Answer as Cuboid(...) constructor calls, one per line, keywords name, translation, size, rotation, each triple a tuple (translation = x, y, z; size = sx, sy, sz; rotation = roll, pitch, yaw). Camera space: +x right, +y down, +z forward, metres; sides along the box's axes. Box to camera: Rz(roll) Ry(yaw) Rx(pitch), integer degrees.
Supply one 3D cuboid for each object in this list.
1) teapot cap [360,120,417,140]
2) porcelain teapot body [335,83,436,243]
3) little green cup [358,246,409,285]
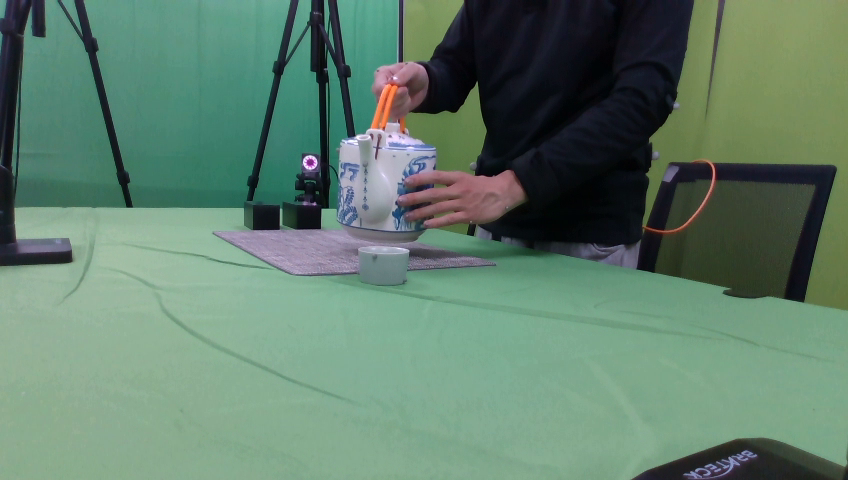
Cuboid(name="teapot cap", translation=(-0.053, -0.155, 0.892), size=(0.085, 0.044, 0.085), rotation=(2, 13, 0))
Cuboid(name="porcelain teapot body", translation=(-0.060, -0.111, 0.872), size=(0.145, 0.225, 0.205), rotation=(7, 14, 8))
Cuboid(name="little green cup", translation=(-0.048, 0.029, 0.707), size=(0.061, 0.038, 0.061), rotation=(2, 8, 0))
